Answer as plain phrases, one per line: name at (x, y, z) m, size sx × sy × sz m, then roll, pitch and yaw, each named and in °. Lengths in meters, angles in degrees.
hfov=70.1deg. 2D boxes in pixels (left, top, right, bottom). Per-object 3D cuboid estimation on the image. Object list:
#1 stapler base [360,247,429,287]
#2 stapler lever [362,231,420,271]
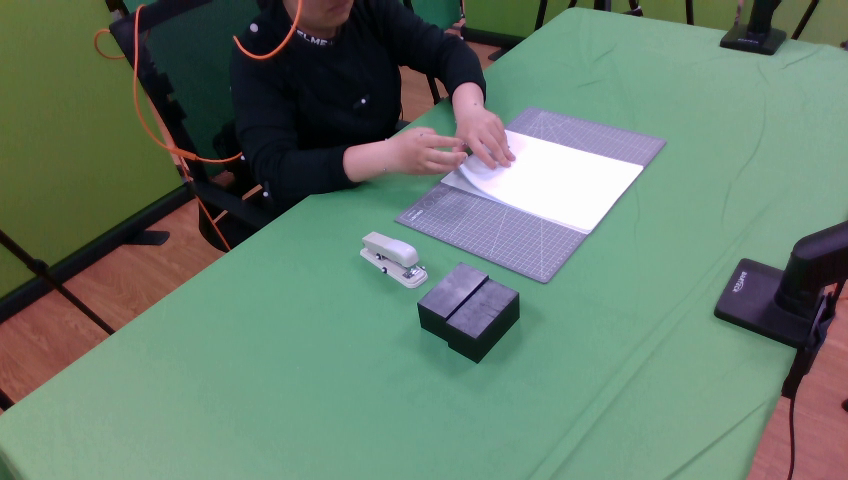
stapler base at (-0.048, 0.031, 0.948) m, size 0.041 × 0.024 × 0.129 m, roll -33°, pitch 44°, yaw -31°
stapler lever at (-0.052, 0.011, 0.933) m, size 0.027 × 0.040 × 0.117 m, roll -34°, pitch 45°, yaw -31°
